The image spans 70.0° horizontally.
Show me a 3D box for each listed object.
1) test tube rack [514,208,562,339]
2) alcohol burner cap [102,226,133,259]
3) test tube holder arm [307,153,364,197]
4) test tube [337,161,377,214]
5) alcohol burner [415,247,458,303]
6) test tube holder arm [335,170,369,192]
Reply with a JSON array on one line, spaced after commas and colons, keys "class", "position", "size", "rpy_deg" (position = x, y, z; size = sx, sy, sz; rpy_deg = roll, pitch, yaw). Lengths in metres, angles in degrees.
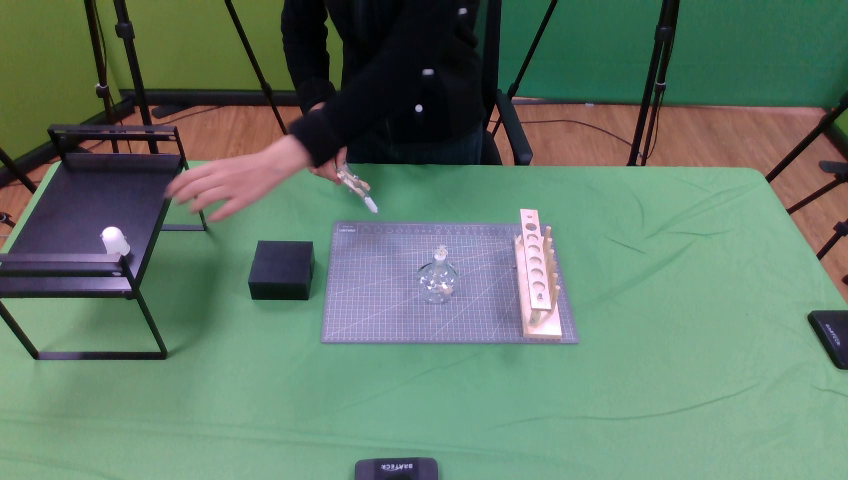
[{"class": "test tube rack", "position": [0.212, 0.056, 1.113], "size": [0.067, 0.085, 0.241], "rpy_deg": [3, 46, -1]}, {"class": "alcohol burner cap", "position": [-0.456, 0.001, 0.897], "size": [0.034, 0.048, 0.033], "rpy_deg": [1, 47, -1]}, {"class": "test tube holder arm", "position": [-0.171, -0.125, 1.145], "size": [0.013, 0.015, 0.177], "rpy_deg": [-43, 52, -16]}, {"class": "test tube", "position": [-0.120, -0.094, 1.112], "size": [0.017, 0.151, 0.017], "rpy_deg": [-11, 54, 16]}, {"class": "alcohol burner", "position": [0.024, 0.057, 1.078], "size": [0.078, 0.119, 0.077], "rpy_deg": [3, 44, -2]}, {"class": "test tube holder arm", "position": [-0.136, -0.110, 1.121], "size": [0.087, 0.015, 0.010], "rpy_deg": [26, 66, 34]}]
